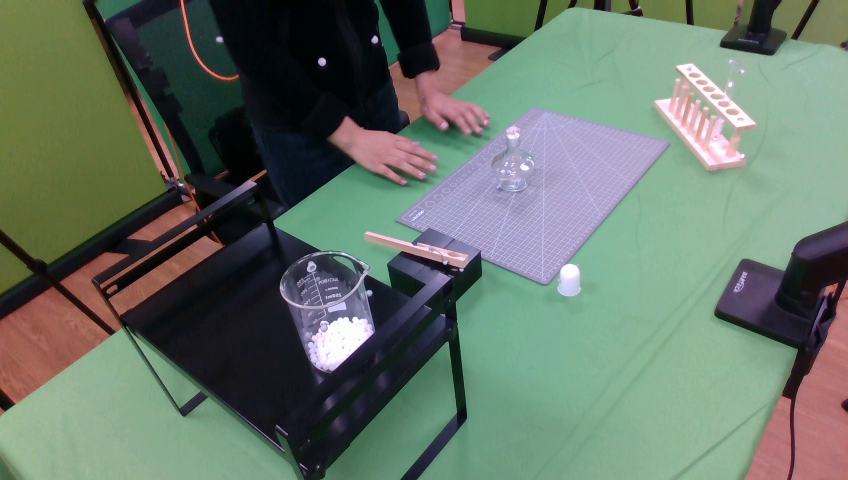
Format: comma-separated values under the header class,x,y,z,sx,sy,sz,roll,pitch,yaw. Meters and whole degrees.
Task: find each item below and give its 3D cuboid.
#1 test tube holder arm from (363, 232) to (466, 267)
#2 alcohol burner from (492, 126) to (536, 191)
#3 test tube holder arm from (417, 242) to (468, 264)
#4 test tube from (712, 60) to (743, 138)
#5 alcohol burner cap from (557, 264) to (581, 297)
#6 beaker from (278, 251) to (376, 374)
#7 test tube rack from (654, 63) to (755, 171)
class,x,y,z,sx,sy,sz,roll,pitch,yaw
test tube holder arm,-0.017,0.012,0.891,0.177,0.015,0.013,13,28,28
alcohol burner,0.156,-0.146,1.046,0.078,0.119,0.077,-4,43,4
test tube holder arm,0.024,0.019,0.874,0.087,0.015,0.010,14,28,29
test tube,0.527,-0.242,1.052,0.017,0.151,0.017,-3,44,3
alcohol burner cap,0.208,0.055,0.866,0.034,0.048,0.033,-4,41,4
beaker,-0.084,0.070,0.570,0.084,0.101,0.073,-18,42,-13
test tube rack,0.510,-0.233,1.120,0.067,0.085,0.241,-8,41,-1
